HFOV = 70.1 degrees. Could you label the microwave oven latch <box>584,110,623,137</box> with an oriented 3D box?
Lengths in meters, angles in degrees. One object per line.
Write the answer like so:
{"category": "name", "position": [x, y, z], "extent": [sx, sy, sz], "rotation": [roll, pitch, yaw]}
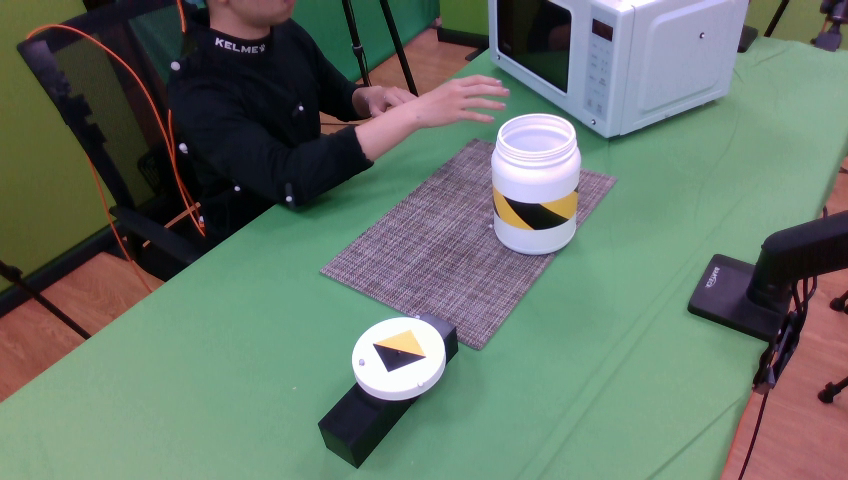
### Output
{"category": "microwave oven latch", "position": [0.337, -0.222, 1.142], "extent": [0.030, 0.029, 0.078], "rotation": [-21, 42, -14]}

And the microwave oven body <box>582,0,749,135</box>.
{"category": "microwave oven body", "position": [0.382, -0.444, 1.246], "extent": [0.327, 0.261, 0.437], "rotation": [-22, 42, -16]}

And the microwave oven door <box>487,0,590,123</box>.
{"category": "microwave oven door", "position": [0.232, -0.420, 1.231], "extent": [0.039, 0.245, 0.352], "rotation": [-22, 43, -16]}

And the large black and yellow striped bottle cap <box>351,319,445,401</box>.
{"category": "large black and yellow striped bottle cap", "position": [-0.031, 0.143, 0.734], "extent": [0.115, 0.019, 0.114], "rotation": [-3, 40, 3]}

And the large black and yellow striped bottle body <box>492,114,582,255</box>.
{"category": "large black and yellow striped bottle body", "position": [0.169, -0.083, 0.912], "extent": [0.131, 0.185, 0.130], "rotation": [-4, 41, 4]}
